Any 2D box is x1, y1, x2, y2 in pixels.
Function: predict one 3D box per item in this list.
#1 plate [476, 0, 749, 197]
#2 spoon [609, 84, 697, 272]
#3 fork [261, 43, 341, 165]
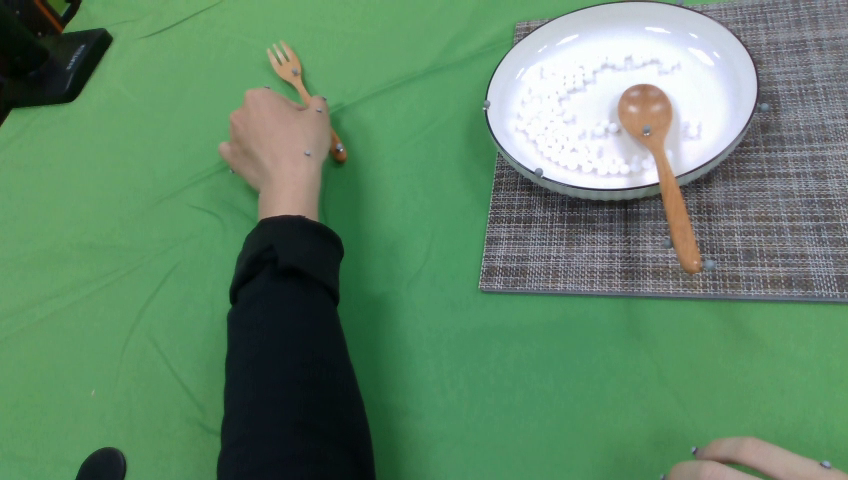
[{"bbox_3d":[0.148,-0.115,0.496,0.207,0.039,0.205,-8,56,12],"label":"plate"},{"bbox_3d":[0.164,-0.053,0.431,0.041,0.022,0.192,-4,43,10],"label":"spoon"},{"bbox_3d":[-0.125,-0.141,0.612,0.028,0.019,0.205,-27,52,-8],"label":"fork"}]
